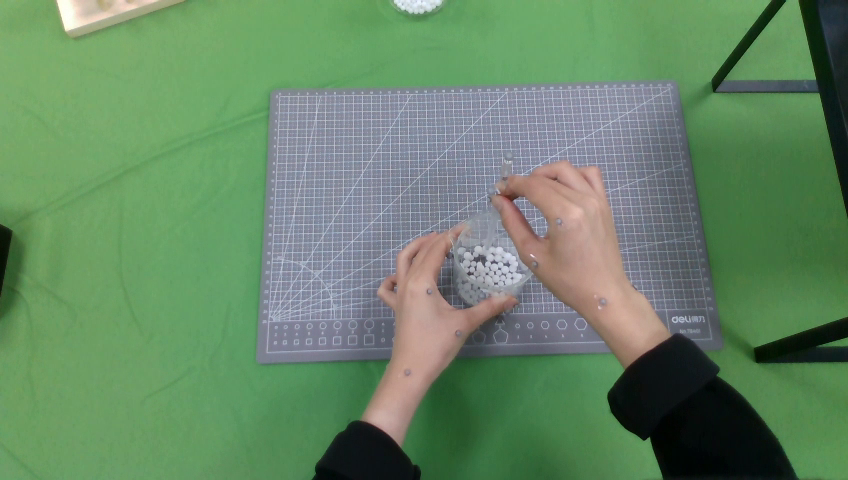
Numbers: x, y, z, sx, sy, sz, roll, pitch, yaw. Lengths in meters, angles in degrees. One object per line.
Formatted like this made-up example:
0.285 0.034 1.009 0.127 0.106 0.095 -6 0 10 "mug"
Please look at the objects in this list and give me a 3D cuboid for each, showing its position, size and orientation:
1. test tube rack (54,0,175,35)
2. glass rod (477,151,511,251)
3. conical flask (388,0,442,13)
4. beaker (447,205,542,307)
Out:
-0.307 -0.320 0.675 0.242 0.085 0.066 -22 74 -7 "test tube rack"
0.057 -0.026 0.513 0.008 0.201 0.008 0 70 -1 "glass rod"
-0.011 -0.313 0.655 0.075 0.122 0.075 0 72 0 "conical flask"
0.059 0.018 0.561 0.084 0.101 0.073 22 73 8 "beaker"
